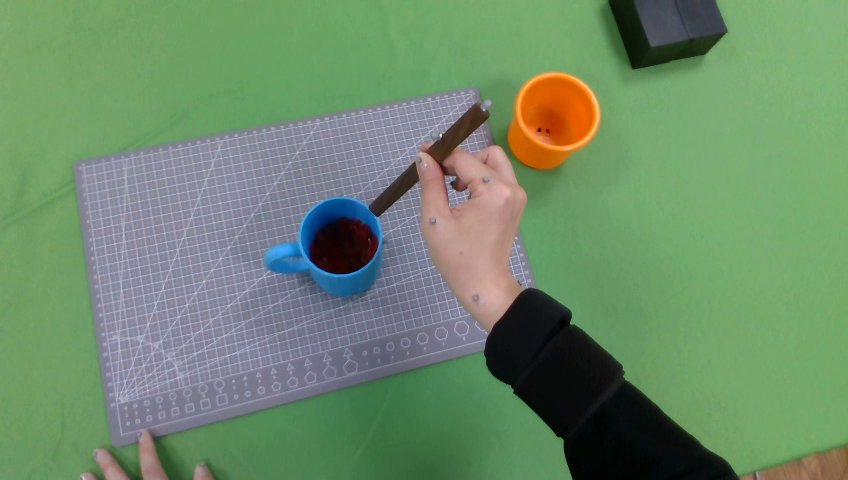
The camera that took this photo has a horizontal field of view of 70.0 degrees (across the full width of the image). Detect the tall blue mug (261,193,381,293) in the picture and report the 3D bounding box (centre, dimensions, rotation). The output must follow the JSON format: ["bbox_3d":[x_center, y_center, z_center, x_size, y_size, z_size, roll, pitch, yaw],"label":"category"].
[{"bbox_3d":[-0.094,0.015,0.592,0.107,0.108,0.077,-37,83,-13],"label":"tall blue mug"}]

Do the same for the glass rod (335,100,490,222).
[{"bbox_3d":[-0.018,-0.054,0.470,0.008,0.199,0.008,19,58,-32],"label":"glass rod"}]
